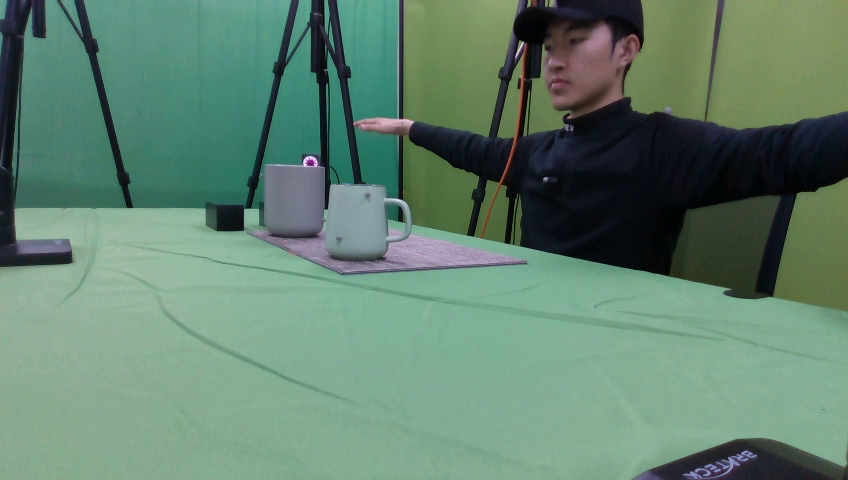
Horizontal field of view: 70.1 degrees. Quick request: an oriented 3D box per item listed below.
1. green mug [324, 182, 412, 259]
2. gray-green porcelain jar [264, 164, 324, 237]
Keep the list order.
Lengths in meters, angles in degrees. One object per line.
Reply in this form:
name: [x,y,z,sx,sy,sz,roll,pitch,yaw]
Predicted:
green mug: [-0.079,-0.028,0.864,0.125,0.105,0.092,3,7,9]
gray-green porcelain jar: [-0.233,-0.072,1.088,0.106,0.126,0.106,2,7,0]
